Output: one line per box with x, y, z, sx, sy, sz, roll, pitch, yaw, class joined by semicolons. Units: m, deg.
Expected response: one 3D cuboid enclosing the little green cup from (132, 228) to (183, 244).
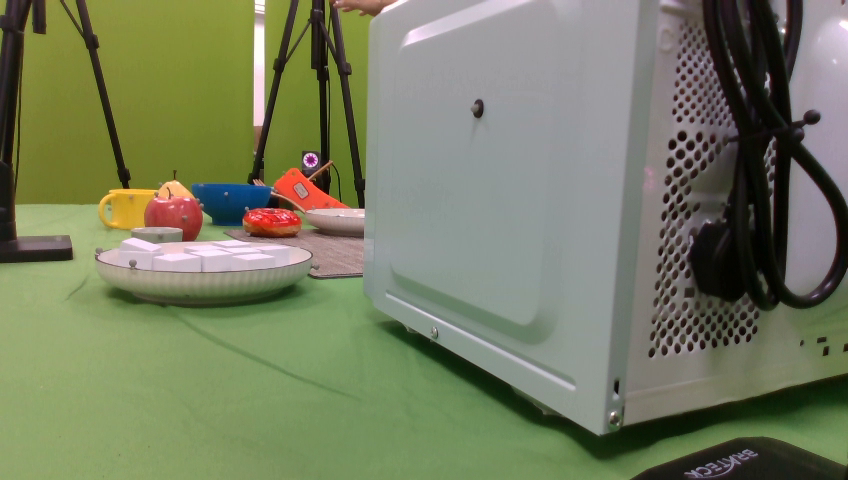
-0.342;0.006;0.779;0.061;0.038;0.061;2;8;0;little green cup

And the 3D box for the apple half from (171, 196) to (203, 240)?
-0.365;-0.033;0.928;0.081;0.081;0.033;5;12;18;apple half

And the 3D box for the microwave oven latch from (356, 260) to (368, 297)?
-0.020;0.033;0.531;0.079;0.029;0.030;0;7;-26;microwave oven latch

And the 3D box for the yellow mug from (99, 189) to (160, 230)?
-0.519;-0.055;1.080;0.099;0.064;0.131;7;10;26;yellow mug

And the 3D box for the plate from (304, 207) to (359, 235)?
-0.123;-0.037;1.149;0.209;0.038;0.209;2;7;0;plate

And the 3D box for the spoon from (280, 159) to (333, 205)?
-0.316;-0.159;1.639;0.194;0.022;0.041;-49;32;-20;spoon

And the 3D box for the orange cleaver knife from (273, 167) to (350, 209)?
-0.236;-0.087;1.358;0.211;0.077;0.012;31;4;-2;orange cleaver knife

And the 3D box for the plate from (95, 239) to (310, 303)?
-0.224;0.031;0.629;0.208;0.039;0.207;2;7;0;plate

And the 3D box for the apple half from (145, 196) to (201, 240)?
-0.377;-0.027;0.892;0.080;0.074;0.053;8;12;18;apple half

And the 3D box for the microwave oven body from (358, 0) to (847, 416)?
0.211;-0.047;0.475;0.444;0.260;0.324;-1;8;-28;microwave oven body

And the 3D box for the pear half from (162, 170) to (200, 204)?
-0.399;-0.061;1.002;0.056;0.110;0.076;2;11;1;pear half

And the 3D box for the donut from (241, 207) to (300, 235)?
-0.263;-0.032;1.039;0.099;0.048;0.099;4;9;0;donut

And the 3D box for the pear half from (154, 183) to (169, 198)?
-0.436;-0.053;1.006;0.031;0.088;0.070;4;12;0;pear half

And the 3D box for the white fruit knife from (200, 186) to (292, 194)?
-0.399;-0.111;1.368;0.208;0.016;0.027;-4;-19;-29;white fruit knife

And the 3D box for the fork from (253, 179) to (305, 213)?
-0.294;-0.084;1.294;0.206;0.018;0.028;29;11;26;fork

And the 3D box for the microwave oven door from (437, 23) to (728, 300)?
0.180;-0.072;0.621;0.358;0.243;0.039;-2;8;-29;microwave oven door

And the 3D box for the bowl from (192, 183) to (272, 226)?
-0.381;-0.071;1.202;0.151;0.077;0.151;3;7;0;bowl
